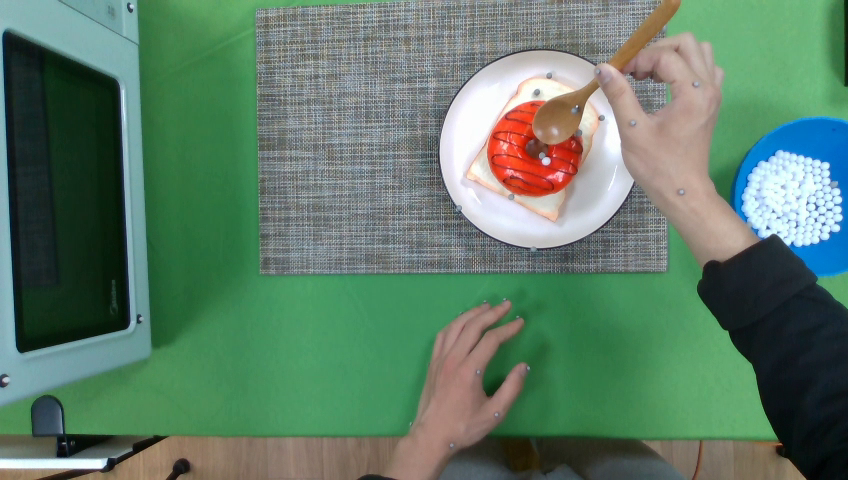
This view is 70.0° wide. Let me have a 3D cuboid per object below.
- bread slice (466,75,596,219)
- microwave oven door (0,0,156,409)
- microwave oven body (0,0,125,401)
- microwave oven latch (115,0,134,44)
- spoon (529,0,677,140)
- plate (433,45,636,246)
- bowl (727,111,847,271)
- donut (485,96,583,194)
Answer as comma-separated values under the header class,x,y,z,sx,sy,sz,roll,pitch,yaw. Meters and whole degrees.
class,x,y,z,sx,sy,sz,roll,pitch,yaw
bread slice,0.117,-0.104,0.644,0.107,0.018,0.134,24,96,5
microwave oven door,-0.344,-0.042,0.573,0.039,0.244,0.355,-3,90,7
microwave oven body,-0.491,-0.076,0.593,0.326,0.260,0.441,-3,91,5
microwave oven latch,-0.342,-0.260,0.672,0.030,0.029,0.079,-2,91,5
spoon,0.141,-0.135,0.499,0.042,0.194,0.021,38,67,-4
plate,0.114,-0.097,0.642,0.207,0.039,0.207,0,91,6
bowl,0.368,-0.045,0.600,0.151,0.077,0.151,0,90,6
donut,0.111,-0.095,0.614,0.099,0.048,0.099,0,90,7
